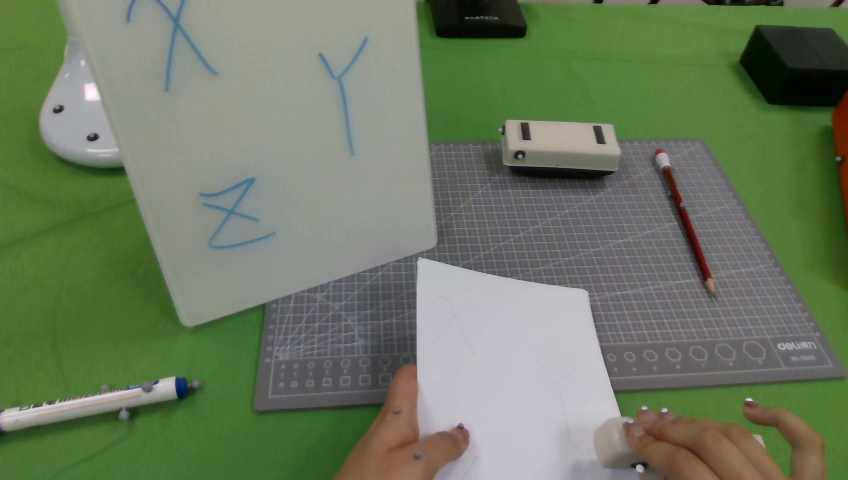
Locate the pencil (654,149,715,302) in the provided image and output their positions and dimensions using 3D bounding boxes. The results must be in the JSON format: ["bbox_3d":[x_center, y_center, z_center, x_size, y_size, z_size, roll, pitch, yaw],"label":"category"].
[{"bbox_3d":[0.246,-0.020,0.574,0.012,0.012,0.192,2,49,-2],"label":"pencil"}]

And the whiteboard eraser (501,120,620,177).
[{"bbox_3d":[0.135,-0.091,0.607,0.113,0.042,0.055,3,48,-2],"label":"whiteboard eraser"}]

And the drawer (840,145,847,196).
[{"bbox_3d":[0.504,-0.017,0.547,0.194,0.074,0.210,16,47,11],"label":"drawer"}]

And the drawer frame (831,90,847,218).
[{"bbox_3d":[0.526,-0.065,0.591,0.201,0.083,0.212,16,47,11],"label":"drawer frame"}]

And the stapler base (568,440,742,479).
[{"bbox_3d":[0.164,0.151,0.403,0.131,0.024,0.041,3,49,-4],"label":"stapler base"}]

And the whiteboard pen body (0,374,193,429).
[{"bbox_3d":[-0.231,0.111,0.411,0.141,0.017,0.017,-9,48,-12],"label":"whiteboard pen body"}]

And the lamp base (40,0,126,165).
[{"bbox_3d":[-0.309,-0.189,0.569,0.178,0.182,0.160,29,51,24],"label":"lamp base"}]

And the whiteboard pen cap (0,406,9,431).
[{"bbox_3d":[-0.290,0.119,0.396,0.033,0.018,0.018,-10,48,-12],"label":"whiteboard pen cap"}]

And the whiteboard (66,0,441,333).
[{"bbox_3d":[-0.125,-0.120,0.475,0.218,0.308,0.142,-17,31,-18],"label":"whiteboard"}]

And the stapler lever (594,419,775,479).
[{"bbox_3d":[0.167,0.134,0.385,0.118,0.040,0.026,3,49,-3],"label":"stapler lever"}]
